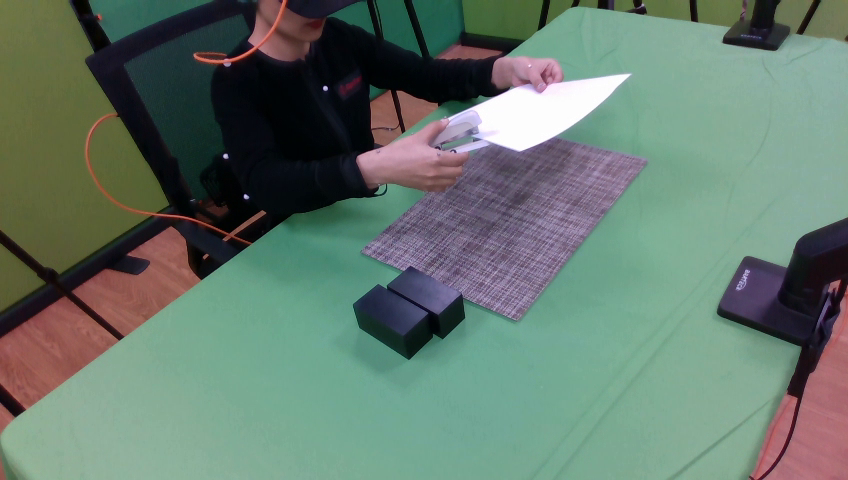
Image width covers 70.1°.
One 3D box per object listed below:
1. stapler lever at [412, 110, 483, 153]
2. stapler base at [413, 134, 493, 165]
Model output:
[{"bbox_3d":[0.034,-0.171,0.946,0.118,0.040,0.027,-15,17,7],"label":"stapler lever"},{"bbox_3d":[0.043,-0.149,0.955,0.130,0.024,0.041,-16,17,7],"label":"stapler base"}]
